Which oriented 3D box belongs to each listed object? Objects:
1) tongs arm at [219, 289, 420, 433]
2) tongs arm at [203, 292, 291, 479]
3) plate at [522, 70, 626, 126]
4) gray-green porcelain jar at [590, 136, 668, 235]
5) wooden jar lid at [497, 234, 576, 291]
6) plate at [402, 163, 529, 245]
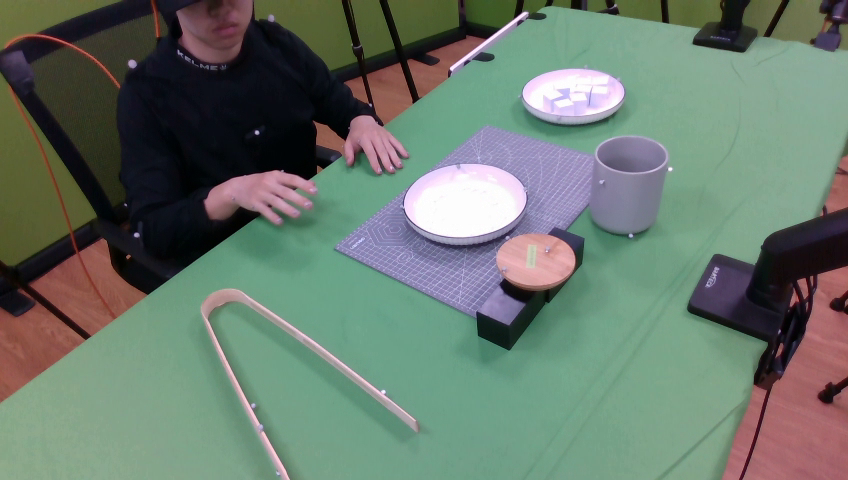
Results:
[{"bbox_3d":[-0.152,0.151,0.812,0.384,0.028,0.028,26,53,33],"label":"tongs arm"},{"bbox_3d":[-0.216,0.187,0.772,0.051,0.026,0.381,-27,43,-24],"label":"tongs arm"},{"bbox_3d":[0.308,-0.290,1.251,0.207,0.039,0.206,-4,40,4],"label":"plate"},{"bbox_3d":[0.314,-0.080,0.937,0.106,0.127,0.105,-4,40,4],"label":"gray-green porcelain jar"},{"bbox_3d":[0.155,0.032,0.834,0.108,0.021,0.108,-5,40,5],"label":"wooden jar lid"},{"bbox_3d":[0.069,-0.056,1.008,0.209,0.038,0.208,-4,40,4],"label":"plate"}]
